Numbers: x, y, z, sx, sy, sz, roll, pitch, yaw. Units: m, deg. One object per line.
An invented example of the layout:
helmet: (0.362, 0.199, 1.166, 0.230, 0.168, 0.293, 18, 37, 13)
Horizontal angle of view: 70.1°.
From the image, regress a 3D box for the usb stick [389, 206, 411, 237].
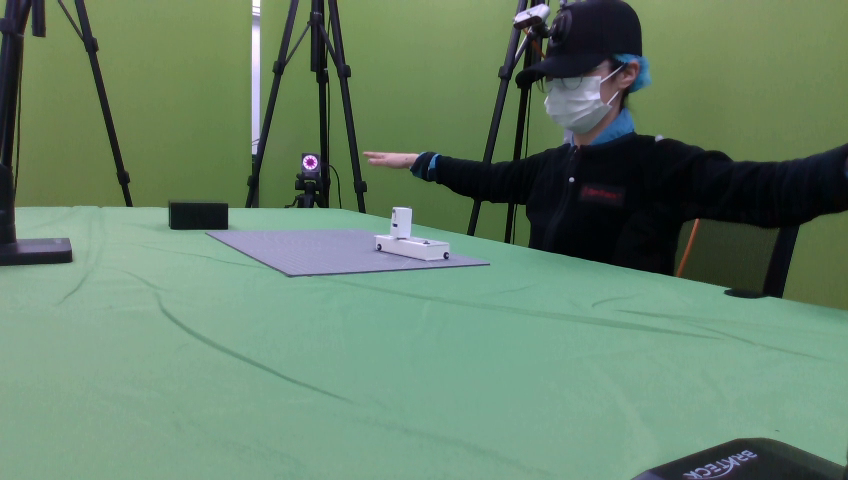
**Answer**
usb stick: (-0.036, -0.022, 0.909, 0.027, 0.059, 0.021, -6, 13, -43)

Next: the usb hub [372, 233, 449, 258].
usb hub: (-0.023, 0.007, 0.918, 0.050, 0.025, 0.124, -5, 10, -42)
